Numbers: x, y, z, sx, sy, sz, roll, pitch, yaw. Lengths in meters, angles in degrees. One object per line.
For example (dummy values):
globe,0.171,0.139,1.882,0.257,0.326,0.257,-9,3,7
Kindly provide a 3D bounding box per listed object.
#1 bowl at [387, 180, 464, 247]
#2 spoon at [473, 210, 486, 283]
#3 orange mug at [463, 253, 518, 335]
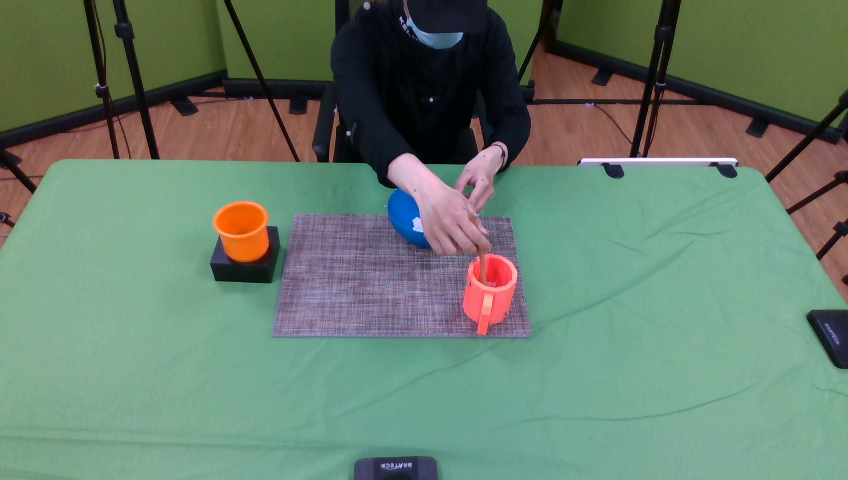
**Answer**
bowl,0.002,-0.040,1.190,0.151,0.077,0.150,2,46,-2
spoon,0.097,0.035,1.022,0.021,0.194,0.041,1,32,11
orange mug,0.113,0.098,1.050,0.083,0.101,0.125,10,41,5
